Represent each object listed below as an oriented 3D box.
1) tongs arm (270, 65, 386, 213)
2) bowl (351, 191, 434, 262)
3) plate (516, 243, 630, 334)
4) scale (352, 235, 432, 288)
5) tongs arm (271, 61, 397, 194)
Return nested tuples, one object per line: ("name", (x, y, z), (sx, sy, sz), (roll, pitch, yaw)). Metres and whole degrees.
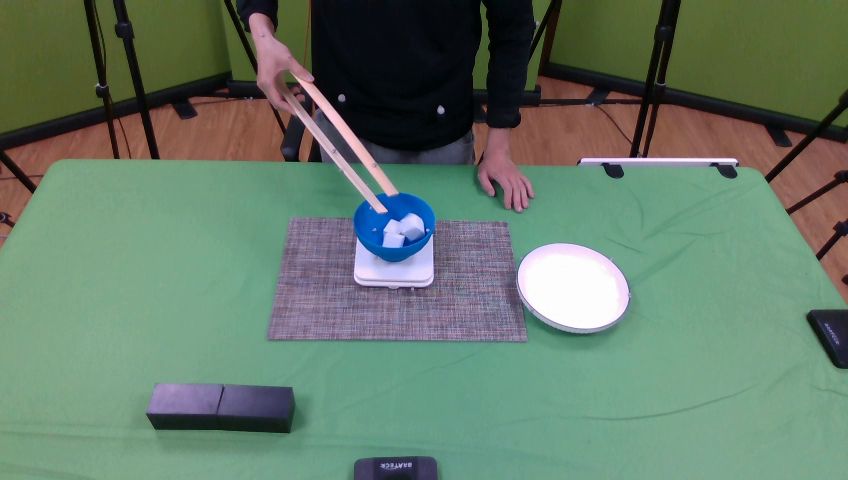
("tongs arm", (-0.183, -0.197, 1.131), (0.026, 0.051, 0.383), (-18, 57, -43))
("bowl", (-0.057, -0.013, 1.119), (0.151, 0.077, 0.150), (1, 46, -1))
("plate", (0.271, 0.092, 1.120), (0.208, 0.039, 0.206), (2, 46, -2))
("scale", (-0.060, 0.010, 1.171), (0.149, 0.032, 0.199), (2, 46, -3))
("tongs arm", (-0.170, -0.216, 1.113), (0.028, 0.028, 0.385), (-20, 61, -40))
